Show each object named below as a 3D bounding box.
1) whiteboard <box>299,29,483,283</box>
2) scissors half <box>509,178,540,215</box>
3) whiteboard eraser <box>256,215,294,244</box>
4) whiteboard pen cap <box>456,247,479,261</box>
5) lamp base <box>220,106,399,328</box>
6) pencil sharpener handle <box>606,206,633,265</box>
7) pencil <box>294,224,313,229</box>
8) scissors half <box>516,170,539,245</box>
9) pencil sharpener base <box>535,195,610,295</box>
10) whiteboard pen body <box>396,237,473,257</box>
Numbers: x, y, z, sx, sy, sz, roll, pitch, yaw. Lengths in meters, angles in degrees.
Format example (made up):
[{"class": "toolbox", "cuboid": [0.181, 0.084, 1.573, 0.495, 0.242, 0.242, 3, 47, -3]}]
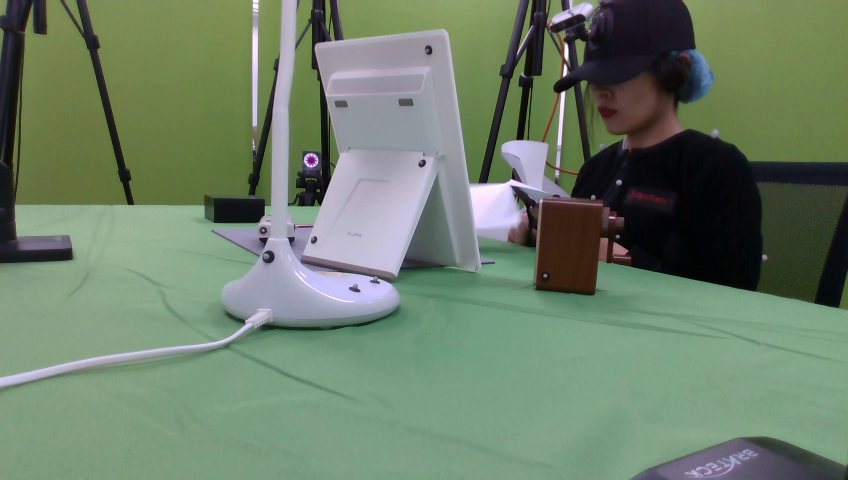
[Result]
[{"class": "whiteboard", "cuboid": [-0.074, -0.082, 0.742, 0.216, 0.305, 0.144, 9, 30, 38]}, {"class": "scissors half", "cuboid": [0.195, -0.070, 1.064, 0.176, 0.040, 0.013, 28, 3, -46]}, {"class": "whiteboard eraser", "cuboid": [-0.232, -0.016, 0.951, 0.056, 0.042, 0.112, 2, 7, -12]}, {"class": "whiteboard pen cap", "cuboid": [0.060, 0.020, 0.851, 0.033, 0.018, 0.018, 10, 10, 37]}, {"class": "lamp base", "cuboid": [-0.101, -0.023, 0.531, 0.160, 0.180, 0.179, 4, 10, 10]}, {"class": "pencil sharpener handle", "cuboid": [0.222, -0.004, 0.683, 0.030, 0.068, 0.036, 5, 20, 17]}, {"class": "pencil", "cuboid": [-0.221, -0.029, 1.211, 0.195, 0.012, 0.012, -5, 10, -34]}, {"class": "scissors half", "cuboid": [0.178, -0.054, 1.062, 0.040, 0.175, 0.012, -33, 42, -17]}, {"class": "pencil sharpener base", "cuboid": [0.172, 0.005, 0.696, 0.076, 0.107, 0.061, 5, 8, 16]}, {"class": "whiteboard pen body", "cuboid": [0.014, 0.012, 0.886, 0.140, 0.017, 0.017, 9, 10, 38]}]
